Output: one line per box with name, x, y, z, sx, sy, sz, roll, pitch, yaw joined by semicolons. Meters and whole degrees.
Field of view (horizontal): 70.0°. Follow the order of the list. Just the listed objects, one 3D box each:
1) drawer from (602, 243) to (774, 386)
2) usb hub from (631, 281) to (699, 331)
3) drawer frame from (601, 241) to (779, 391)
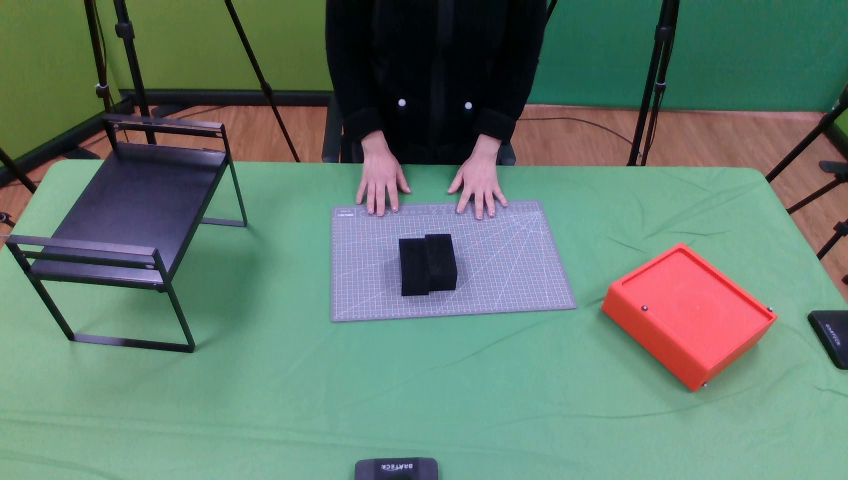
drawer;0.460;0.124;1.067;0.194;0.073;0.210;-24;52;-26
usb hub;0.435;0.119;1.091;0.125;0.025;0.049;-24;50;-26
drawer frame;0.462;0.124;1.066;0.202;0.083;0.212;-26;54;-26
